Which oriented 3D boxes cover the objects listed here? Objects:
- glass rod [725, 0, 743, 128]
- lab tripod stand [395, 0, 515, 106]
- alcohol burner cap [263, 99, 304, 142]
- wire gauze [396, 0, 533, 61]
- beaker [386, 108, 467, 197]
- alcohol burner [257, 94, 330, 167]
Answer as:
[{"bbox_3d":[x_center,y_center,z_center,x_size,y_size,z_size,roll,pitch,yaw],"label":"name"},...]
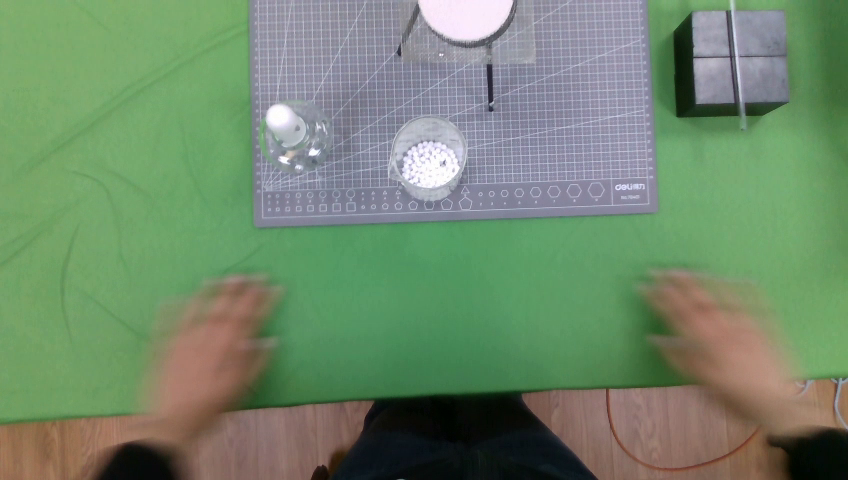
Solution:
[{"bbox_3d":[0.325,-0.216,0.639,0.008,0.008,0.199,-4,88,0],"label":"glass rod"},{"bbox_3d":[0.040,-0.223,0.619,0.148,0.132,0.148,0,85,1],"label":"lab tripod stand"},{"bbox_3d":[-0.138,-0.117,0.585,0.034,0.048,0.033,-1,81,4],"label":"alcohol burner cap"},{"bbox_3d":[0.036,-0.223,0.552,0.125,0.011,0.121,-1,87,0],"label":"wire gauze"},{"bbox_3d":[0.001,-0.083,0.628,0.084,0.100,0.074,-29,87,-1],"label":"beaker"},{"bbox_3d":[-0.137,-0.116,0.621,0.078,0.119,0.078,0,88,-1],"label":"alcohol burner"}]
